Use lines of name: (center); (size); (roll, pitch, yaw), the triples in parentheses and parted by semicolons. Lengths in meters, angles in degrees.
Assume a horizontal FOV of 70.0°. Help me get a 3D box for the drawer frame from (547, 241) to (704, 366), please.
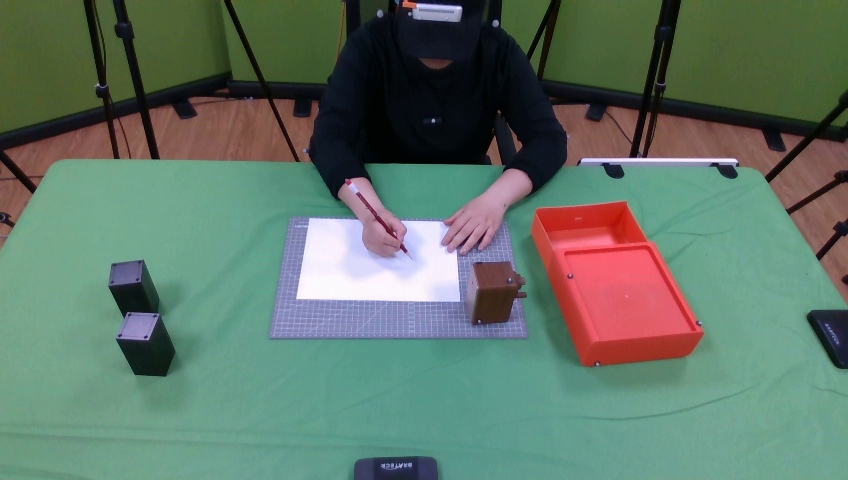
drawer frame: (0.348, 0.106, 1.077); (0.202, 0.083, 0.212); (-4, 47, -9)

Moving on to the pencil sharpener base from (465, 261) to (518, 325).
pencil sharpener base: (0.117, 0.093, 1.052); (0.077, 0.107, 0.061); (-3, 46, -7)

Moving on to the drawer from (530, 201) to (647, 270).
drawer: (0.329, 0.025, 1.159); (0.195, 0.073, 0.210); (-5, 46, -9)

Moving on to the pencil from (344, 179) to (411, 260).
pencil: (-0.084, -0.036, 1.122); (0.194, 0.012, 0.012); (51, 49, -15)

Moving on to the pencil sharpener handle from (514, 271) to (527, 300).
pencil sharpener handle: (0.169, 0.081, 1.051); (0.031, 0.068, 0.035); (-3, 48, -7)
